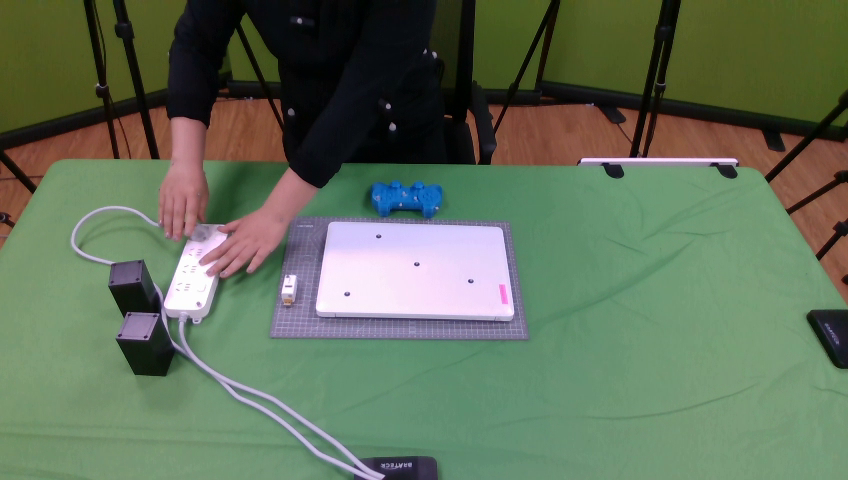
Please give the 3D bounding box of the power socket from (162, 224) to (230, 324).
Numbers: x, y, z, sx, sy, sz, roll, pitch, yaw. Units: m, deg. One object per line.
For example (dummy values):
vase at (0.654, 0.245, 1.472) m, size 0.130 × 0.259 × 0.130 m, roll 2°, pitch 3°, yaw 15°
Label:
power socket at (-0.412, 0.052, 1.107) m, size 0.072 × 0.033 × 0.225 m, roll 3°, pitch 46°, yaw -3°

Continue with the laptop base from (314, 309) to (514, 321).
laptop base at (-0.017, 0.059, 1.141) m, size 0.354 × 0.023 × 0.234 m, roll 2°, pitch 42°, yaw -3°

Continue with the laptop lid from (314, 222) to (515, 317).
laptop lid at (-0.016, 0.049, 1.134) m, size 0.357 × 0.013 × 0.240 m, roll 3°, pitch 43°, yaw -2°

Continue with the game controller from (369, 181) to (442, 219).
game controller at (-0.038, -0.092, 1.268) m, size 0.155 × 0.052 × 0.096 m, roll 2°, pitch 51°, yaw -2°

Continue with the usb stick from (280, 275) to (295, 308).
usb stick at (-0.244, 0.093, 1.081) m, size 0.021 × 0.027 × 0.059 m, roll 3°, pitch 48°, yaw -5°

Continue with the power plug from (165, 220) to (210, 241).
power plug at (-0.441, -0.016, 1.143) m, size 0.072 × 0.053 × 0.035 m, roll 8°, pitch 46°, yaw 8°
